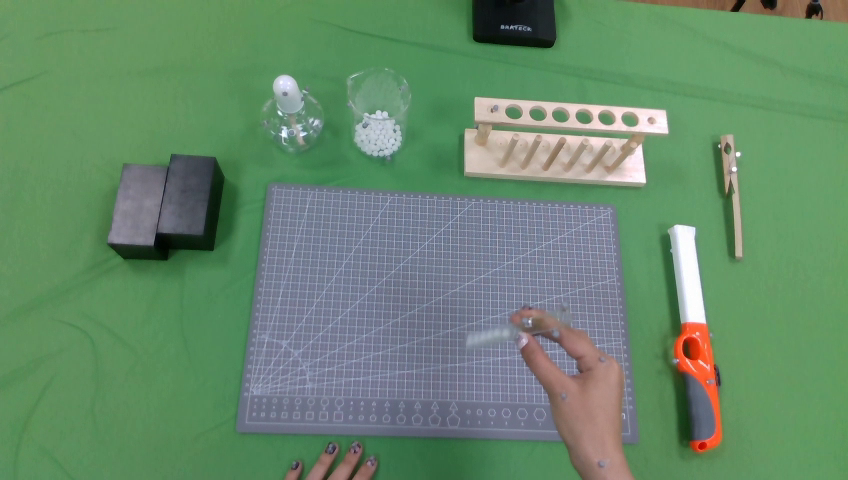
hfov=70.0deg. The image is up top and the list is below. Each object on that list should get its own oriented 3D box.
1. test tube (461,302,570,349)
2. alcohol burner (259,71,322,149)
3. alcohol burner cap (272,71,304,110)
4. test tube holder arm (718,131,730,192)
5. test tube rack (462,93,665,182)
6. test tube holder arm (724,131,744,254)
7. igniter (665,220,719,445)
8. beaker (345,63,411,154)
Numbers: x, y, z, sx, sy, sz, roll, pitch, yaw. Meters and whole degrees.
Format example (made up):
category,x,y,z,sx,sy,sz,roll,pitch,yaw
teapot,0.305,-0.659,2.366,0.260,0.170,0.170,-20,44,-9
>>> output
category,x,y,z,sx,sy,sz,roll,pitch,yaw
test tube,0.078,0.081,0.553,0.017,0.150,0.017,11,67,-27
alcohol burner,-0.164,-0.163,0.737,0.078,0.120,0.077,2,68,-5
alcohol burner cap,-0.159,-0.176,0.703,0.034,0.048,0.033,1,75,-3
test tube holder arm,0.413,-0.108,0.833,0.010,0.015,0.087,-7,68,29
test tube rack,0.175,-0.129,0.777,0.243,0.085,0.066,3,69,-5
test tube holder arm,0.416,-0.067,0.815,0.013,0.015,0.177,-9,67,28
igniter,0.325,0.107,0.739,0.057,0.025,0.274,7,69,-14
beaker,-0.061,-0.160,0.755,0.084,0.101,0.073,30,69,6
